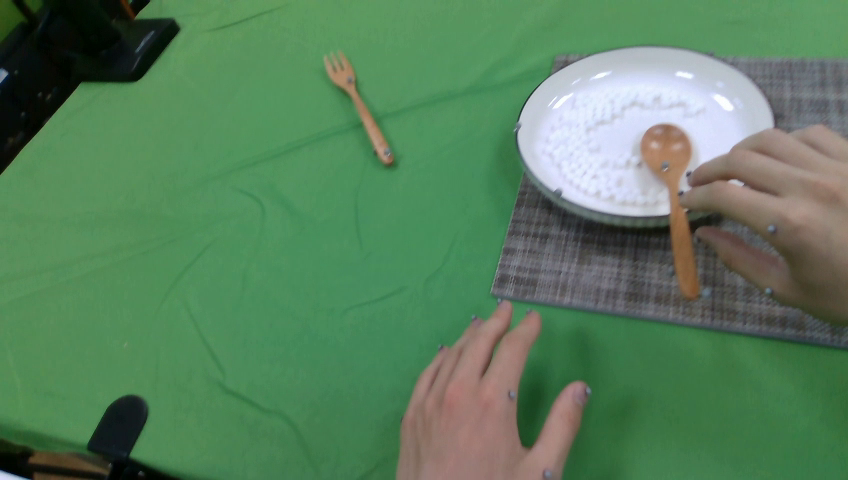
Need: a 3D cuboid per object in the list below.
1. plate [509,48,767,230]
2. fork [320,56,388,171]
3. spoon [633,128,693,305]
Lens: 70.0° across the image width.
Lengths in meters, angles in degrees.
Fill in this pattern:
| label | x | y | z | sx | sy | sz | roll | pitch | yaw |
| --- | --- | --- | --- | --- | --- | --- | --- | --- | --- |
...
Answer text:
| label | x | y | z | sx | sy | sz | roll | pitch | yaw |
| --- | --- | --- | --- | --- | --- | --- | --- | --- | --- |
| plate | 0.179 | -0.087 | 0.527 | 0.207 | 0.039 | 0.205 | -7 | 52 | 10 |
| fork | -0.076 | -0.141 | 0.652 | 0.028 | 0.019 | 0.205 | -20 | 49 | -9 |
| spoon | 0.184 | -0.026 | 0.458 | 0.041 | 0.022 | 0.192 | 1 | 41 | 15 |
